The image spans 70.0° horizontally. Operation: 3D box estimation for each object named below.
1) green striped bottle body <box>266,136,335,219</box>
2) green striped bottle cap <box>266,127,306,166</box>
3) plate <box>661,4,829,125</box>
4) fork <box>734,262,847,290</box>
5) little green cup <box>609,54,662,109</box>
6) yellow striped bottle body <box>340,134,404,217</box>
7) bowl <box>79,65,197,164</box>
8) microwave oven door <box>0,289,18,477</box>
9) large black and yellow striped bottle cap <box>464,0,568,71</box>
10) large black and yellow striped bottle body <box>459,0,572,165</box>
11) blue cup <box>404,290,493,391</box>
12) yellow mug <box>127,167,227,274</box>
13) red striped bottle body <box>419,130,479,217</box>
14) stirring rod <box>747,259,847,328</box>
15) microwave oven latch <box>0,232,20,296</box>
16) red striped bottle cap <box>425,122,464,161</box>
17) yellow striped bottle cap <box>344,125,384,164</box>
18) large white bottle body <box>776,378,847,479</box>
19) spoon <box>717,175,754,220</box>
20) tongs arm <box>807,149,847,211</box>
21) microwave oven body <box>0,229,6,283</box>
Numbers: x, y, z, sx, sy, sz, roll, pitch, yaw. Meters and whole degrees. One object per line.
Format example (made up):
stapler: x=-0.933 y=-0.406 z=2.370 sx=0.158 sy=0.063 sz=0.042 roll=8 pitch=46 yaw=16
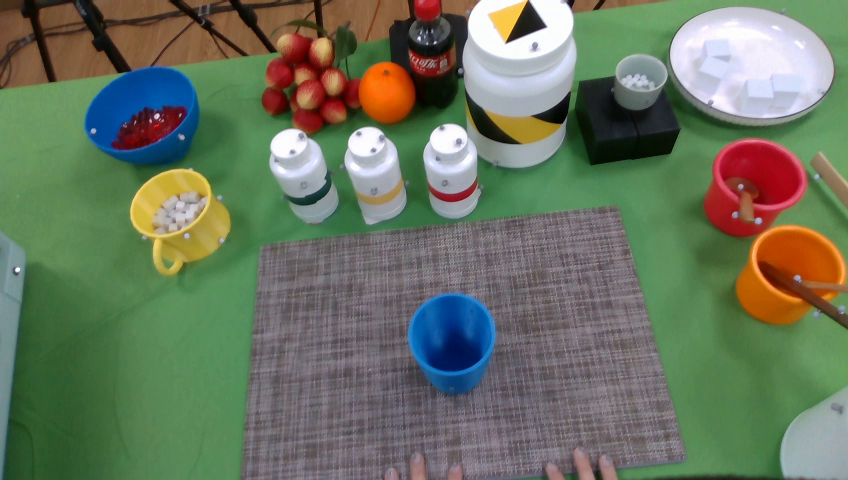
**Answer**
green striped bottle body: x=-0.152 y=-0.082 z=0.742 sx=0.063 sy=0.120 sz=0.062 roll=-2 pitch=60 yaw=5
green striped bottle cap: x=-0.159 y=-0.108 z=0.697 sx=0.044 sy=0.020 sz=0.044 roll=-2 pitch=60 yaw=3
plate: x=0.425 y=-0.233 z=0.816 sx=0.209 sy=0.038 sz=0.207 roll=-2 pitch=61 yaw=4
fork: x=0.402 y=0.046 z=0.595 sx=0.028 sy=0.019 sz=0.206 roll=-41 pitch=20 yaw=-16
little green cup: x=0.260 y=-0.195 z=0.753 sx=0.061 sy=0.039 sz=0.061 roll=-2 pitch=59 yaw=3
yellow striped bottle body: x=-0.063 y=-0.084 z=0.733 sx=0.063 sy=0.121 sz=0.062 roll=-3 pitch=60 yaw=6
bowl: x=-0.377 y=-0.158 z=0.832 sx=0.151 sy=0.077 sz=0.150 roll=-2 pitch=61 yaw=4
microwave oven door: x=-0.476 y=0.165 z=0.545 sx=0.039 sy=0.246 sz=0.352 roll=-15 pitch=60 yaw=-2
large black and yellow striped bottle cap: x=0.101 y=-0.234 z=0.668 sx=0.115 sy=0.019 sz=0.114 roll=-3 pitch=59 yaw=5
large black and yellow striped bottle body: x=0.109 y=-0.194 z=0.742 sx=0.131 sy=0.185 sz=0.129 roll=-3 pitch=60 yaw=5
blue cup: x=0.026 y=0.111 z=0.621 sx=0.092 sy=0.101 sz=0.092 roll=-2 pitch=59 yaw=3
yellow mug: x=-0.310 y=-0.019 z=0.753 sx=0.100 sy=0.064 sz=0.130 roll=3 pitch=61 yaw=6
red striped bottle body: x=0.030 y=-0.084 z=0.725 sx=0.063 sy=0.121 sz=0.062 roll=-5 pitch=58 yaw=8
stirring rod: x=0.373 y=0.049 z=0.605 sx=0.014 sy=0.006 sz=0.175 roll=-5 pitch=17 yaw=1
microwave oven latch: x=-0.517 y=0.032 z=0.741 sx=0.030 sy=0.030 sz=0.078 roll=-13 pitch=61 yaw=-2
red striped bottle cap: x=0.023 y=-0.111 z=0.680 sx=0.044 sy=0.018 sz=0.044 roll=-1 pitch=59 yaw=1
yellow striped bottle cap: x=-0.068 y=-0.109 z=0.689 sx=0.044 sy=0.019 sz=0.044 roll=-2 pitch=61 yaw=4
large white bottle body: x=0.396 y=0.173 z=0.502 sx=0.130 sy=0.186 sz=0.129 roll=-3 pitch=60 yaw=5
spoon: x=0.341 y=-0.048 z=0.658 sx=0.041 sy=0.194 sz=0.022 roll=24 pitch=111 yaw=19
tongs arm: x=0.549 y=0.046 z=0.646 sx=0.051 sy=0.027 sz=0.381 roll=-17 pitch=61 yaw=-6
microwave oven body: x=-0.627 y=0.168 z=0.564 sx=0.326 sy=0.262 sz=0.437 roll=-15 pitch=61 yaw=-3
